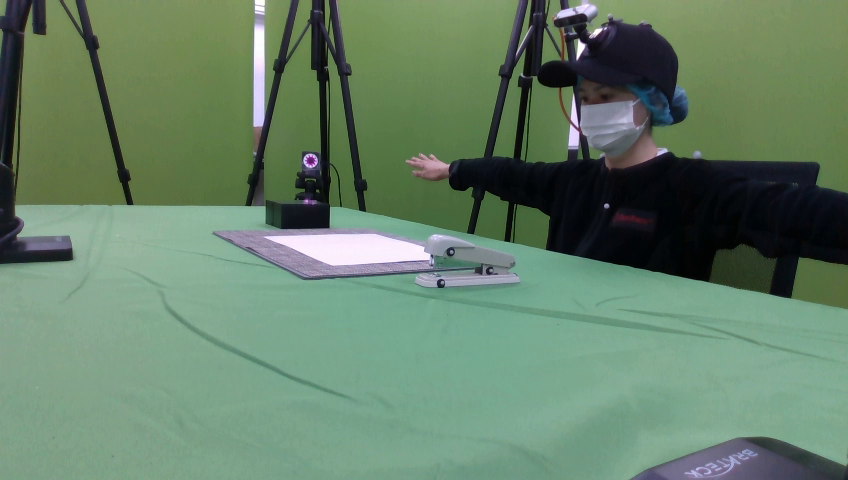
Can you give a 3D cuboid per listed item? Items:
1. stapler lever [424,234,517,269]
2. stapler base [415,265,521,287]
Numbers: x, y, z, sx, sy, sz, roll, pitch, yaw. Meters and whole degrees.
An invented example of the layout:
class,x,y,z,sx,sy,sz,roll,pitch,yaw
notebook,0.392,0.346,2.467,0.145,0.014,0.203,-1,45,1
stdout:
class,x,y,z,sx,sy,sz,roll,pitch,yaw
stapler lever,0.056,0.014,0.714,0.119,0.040,0.026,1,9,-27
stapler base,0.053,0.039,0.716,0.131,0.024,0.041,1,9,-27
